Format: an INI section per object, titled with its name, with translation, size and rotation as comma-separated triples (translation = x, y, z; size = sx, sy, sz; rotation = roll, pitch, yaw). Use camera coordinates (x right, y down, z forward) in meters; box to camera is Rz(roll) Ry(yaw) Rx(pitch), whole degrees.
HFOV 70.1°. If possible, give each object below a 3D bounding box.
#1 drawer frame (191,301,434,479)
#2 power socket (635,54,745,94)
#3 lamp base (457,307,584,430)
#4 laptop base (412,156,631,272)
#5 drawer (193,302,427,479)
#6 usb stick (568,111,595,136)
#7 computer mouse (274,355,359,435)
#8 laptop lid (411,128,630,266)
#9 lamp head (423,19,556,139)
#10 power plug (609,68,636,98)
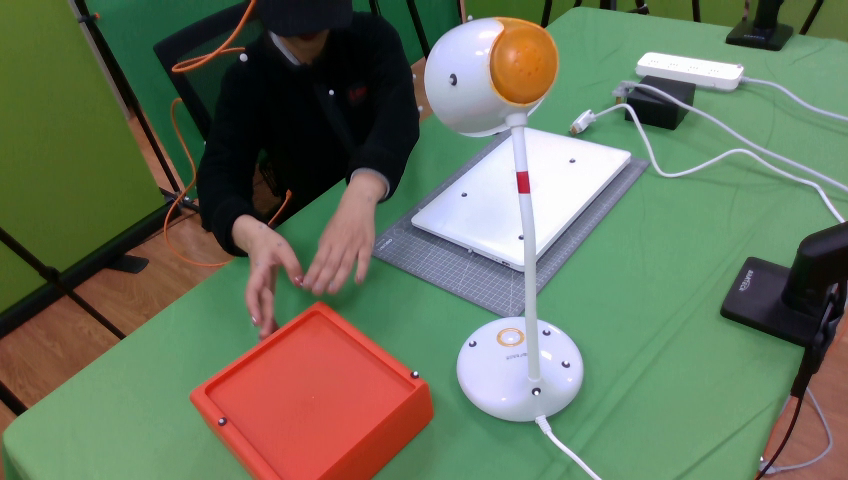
[drawer frame]
translation = -0.133, 0.197, 0.731
size = 0.211, 0.083, 0.202
rotation = 29, 52, 36
[power socket]
translation = 0.563, -0.358, 1.295
size = 0.225, 0.033, 0.072
rotation = 21, 49, 31
[lamp base]
translation = 0.115, 0.107, 0.713
size = 0.161, 0.181, 0.178
rotation = -16, 43, -8
[laptop base]
translation = 0.176, -0.084, 1.055
size = 0.233, 0.023, 0.355
rotation = 21, 48, 36
[drawer]
translation = -0.136, 0.198, 0.733
size = 0.195, 0.073, 0.210
rotation = -36, 47, -29
[usb stick]
translation = 0.308, -0.227, 1.189
size = 0.059, 0.021, 0.027
rotation = -44, 14, -19
[computer mouse]
translation = -0.138, 0.191, 0.762
size = 0.063, 0.041, 0.116
rotation = -38, 49, -27
[laptop lid]
translation = 0.172, -0.093, 1.049
size = 0.239, 0.013, 0.358
rotation = 23, 50, 36
[lamp head]
translation = 0.068, -0.151, 0.563
size = 0.113, 0.113, 0.122
rotation = -21, 18, -13
[power plug]
translation = 0.406, -0.323, 1.233
size = 0.035, 0.072, 0.052
rotation = 5, 37, -34
